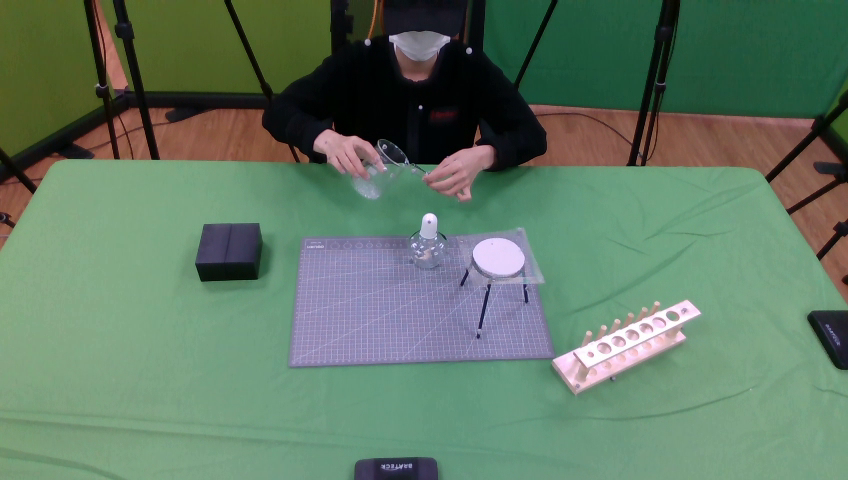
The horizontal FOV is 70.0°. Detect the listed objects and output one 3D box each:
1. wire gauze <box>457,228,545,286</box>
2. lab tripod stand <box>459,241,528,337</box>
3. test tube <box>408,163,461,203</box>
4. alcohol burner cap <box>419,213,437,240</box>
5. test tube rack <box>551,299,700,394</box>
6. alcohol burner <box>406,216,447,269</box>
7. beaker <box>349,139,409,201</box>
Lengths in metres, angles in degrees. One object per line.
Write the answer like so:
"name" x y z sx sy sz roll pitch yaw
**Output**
"wire gauze" 0.126 0.029 1.006 0.125 0.011 0.120 -4 46 -10
"lab tripod stand" 0.122 0.075 1.054 0.148 0.132 0.147 3 44 -3
"test tube" 0.023 -0.111 1.209 0.151 0.017 0.017 31 30 -39
"alcohol burner cap" 0.009 -0.027 1.109 0.034 0.048 0.033 3 44 -3
"test tube rack" 0.339 0.166 1.021 0.242 0.085 0.066 -19 50 -21
"alcohol burner" 0.006 -0.002 1.134 0.078 0.120 0.077 2 48 -2
"beaker" -0.087 -0.130 1.155 0.084 0.100 0.073 27 30 -34
